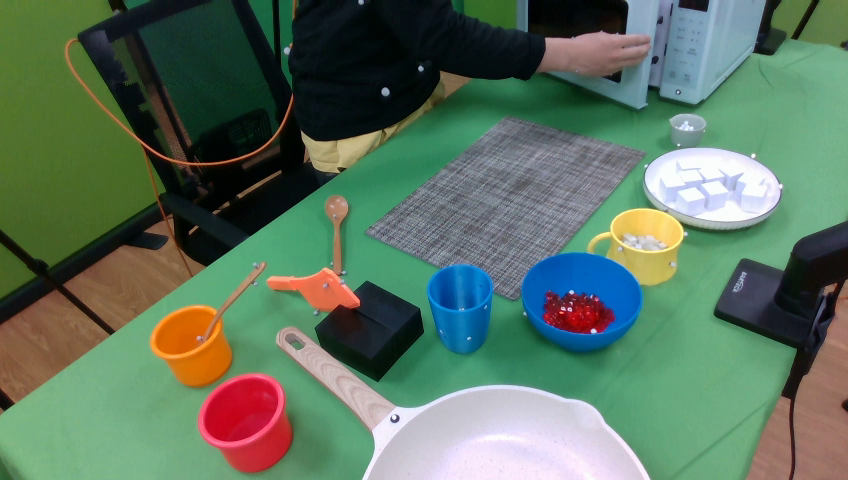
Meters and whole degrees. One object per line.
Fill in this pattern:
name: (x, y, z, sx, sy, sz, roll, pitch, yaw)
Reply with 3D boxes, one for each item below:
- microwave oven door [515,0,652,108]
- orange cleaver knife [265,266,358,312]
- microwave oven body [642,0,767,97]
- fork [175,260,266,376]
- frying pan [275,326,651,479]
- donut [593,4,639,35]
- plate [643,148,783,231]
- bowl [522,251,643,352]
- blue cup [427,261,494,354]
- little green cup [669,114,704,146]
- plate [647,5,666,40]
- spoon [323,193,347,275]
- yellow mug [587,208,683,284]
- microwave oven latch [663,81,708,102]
microwave oven door: (0.319, -0.441, 1.241, 0.039, 0.245, 0.352, -30, 46, -24)
orange cleaver knife: (-0.165, 0.073, 0.864, 0.210, 0.077, 0.012, -6, 31, 50)
microwave oven body: (0.473, -0.516, 1.313, 0.438, 0.261, 0.327, 26, 51, 34)
fork: (-0.268, 0.103, 0.792, 0.207, 0.019, 0.028, -51, 41, 16)
frying pan: (0.004, 0.229, 0.641, 0.484, 0.103, 0.308, 34, 54, 28)
donut: (0.428, -0.493, 1.352, 0.099, 0.048, 0.098, -7, 42, 7)
plate: (0.464, -0.080, 0.986, 0.207, 0.039, 0.206, -4, 41, 4)
bowl: (0.204, 0.093, 0.792, 0.151, 0.077, 0.150, -4, 40, 4)
blue cup: (0.050, 0.095, 0.791, 0.092, 0.100, 0.092, -3, 42, 3)
little green cup: (0.485, -0.203, 1.123, 0.061, 0.039, 0.061, -5, 40, 5)
plate: (0.436, -0.487, 1.368, 0.209, 0.038, 0.208, -4, 40, 4)
spoon: (-0.148, -0.014, 1.008, 0.042, 0.021, 0.192, 4, 39, -12)
yellow mug: (0.305, 0.009, 0.884, 0.131, 0.064, 0.099, -4, 41, 5)
microwave oven latch: (0.519, -0.299, 1.202, 0.078, 0.029, 0.030, 30, 53, 36)
